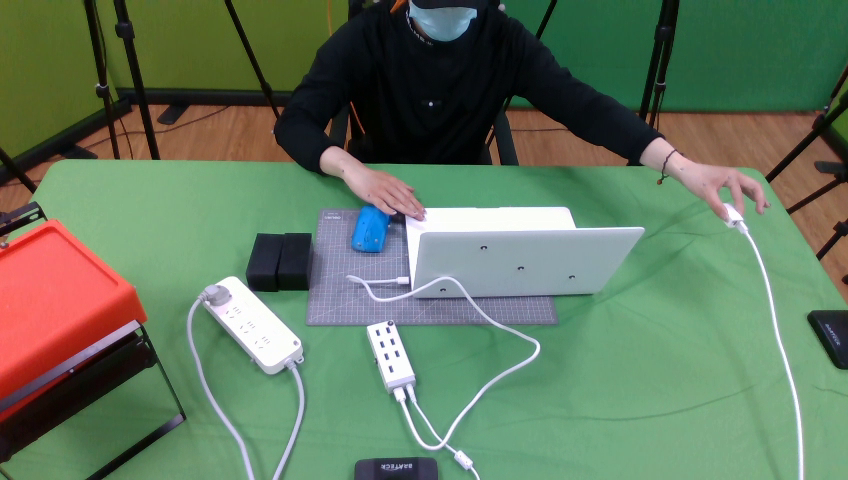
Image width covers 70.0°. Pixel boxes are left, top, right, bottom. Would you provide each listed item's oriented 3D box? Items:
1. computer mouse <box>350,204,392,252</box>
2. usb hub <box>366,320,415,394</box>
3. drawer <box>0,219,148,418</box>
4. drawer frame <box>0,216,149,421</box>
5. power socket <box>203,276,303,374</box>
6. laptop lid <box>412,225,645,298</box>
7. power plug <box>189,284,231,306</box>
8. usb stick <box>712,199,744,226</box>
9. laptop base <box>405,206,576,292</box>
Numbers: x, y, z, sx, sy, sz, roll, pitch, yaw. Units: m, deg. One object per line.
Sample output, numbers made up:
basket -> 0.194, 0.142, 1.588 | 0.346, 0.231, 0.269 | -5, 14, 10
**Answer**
computer mouse -> -0.104, -0.027, 1.202 | 0.063, 0.041, 0.116 | 11, 51, 4
usb hub -> -0.056, 0.192, 1.009 | 0.049, 0.025, 0.124 | -12, 49, -16
drawer -> -0.509, 0.093, 0.783 | 0.193, 0.073, 0.211 | 32, 53, 24
drawer frame -> -0.510, 0.093, 0.780 | 0.201, 0.083, 0.213 | 31, 52, 23
power socket -> -0.296, 0.141, 1.034 | 0.072, 0.033, 0.225 | -34, 58, -30
laptop lid -> 0.161, 0.042, 1.012 | 0.357, 0.242, 0.013 | 0, 59, -7
power plug -> -0.367, 0.100, 1.037 | 0.072, 0.053, 0.035 | -24, 53, -26
usb stick -> 0.551, -0.052, 1.104 | 0.027, 0.021, 0.059 | -9, 46, -18
laptop base -> 0.143, 0.018, 1.196 | 0.355, 0.023, 0.234 | -1, 43, -6
